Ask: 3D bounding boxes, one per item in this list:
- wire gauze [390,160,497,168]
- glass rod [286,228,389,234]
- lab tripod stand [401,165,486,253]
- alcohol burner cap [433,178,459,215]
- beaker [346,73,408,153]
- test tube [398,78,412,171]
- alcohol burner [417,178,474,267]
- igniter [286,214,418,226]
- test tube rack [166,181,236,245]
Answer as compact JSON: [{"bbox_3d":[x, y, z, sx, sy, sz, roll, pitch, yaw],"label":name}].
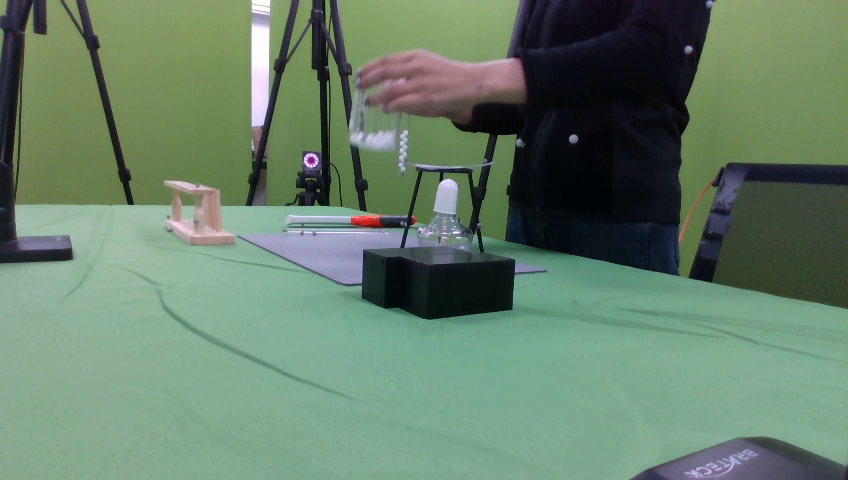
[{"bbox_3d":[0.027,-0.115,0.919,0.122,0.011,0.124,-4,10,-34],"label":"wire gauze"},{"bbox_3d":[-0.154,-0.016,1.101,0.201,0.008,0.008,1,6,-31],"label":"glass rod"},{"bbox_3d":[0.027,-0.049,0.930,0.148,0.131,0.148,2,9,0],"label":"lab tripod stand"},{"bbox_3d":[0.031,-0.059,0.806,0.034,0.048,0.034,9,9,-1],"label":"alcohol burner cap"},{"bbox_3d":[-0.069,-0.176,0.841,0.074,0.100,0.083,4,12,-26],"label":"beaker"},{"bbox_3d":[-0.032,-0.187,0.986,0.017,0.150,0.017,3,14,-1],"label":"test tube"},{"bbox_3d":[0.029,-0.024,0.810,0.078,0.119,0.078,1,8,0],"label":"alcohol burner"},{"bbox_3d":[-0.146,-0.043,1.263,0.278,0.025,0.057,-1,-2,-24],"label":"igniter"},{"bbox_3d":[-0.383,-0.051,1.024,0.067,0.085,0.241,-2,9,-31],"label":"test tube rack"}]
